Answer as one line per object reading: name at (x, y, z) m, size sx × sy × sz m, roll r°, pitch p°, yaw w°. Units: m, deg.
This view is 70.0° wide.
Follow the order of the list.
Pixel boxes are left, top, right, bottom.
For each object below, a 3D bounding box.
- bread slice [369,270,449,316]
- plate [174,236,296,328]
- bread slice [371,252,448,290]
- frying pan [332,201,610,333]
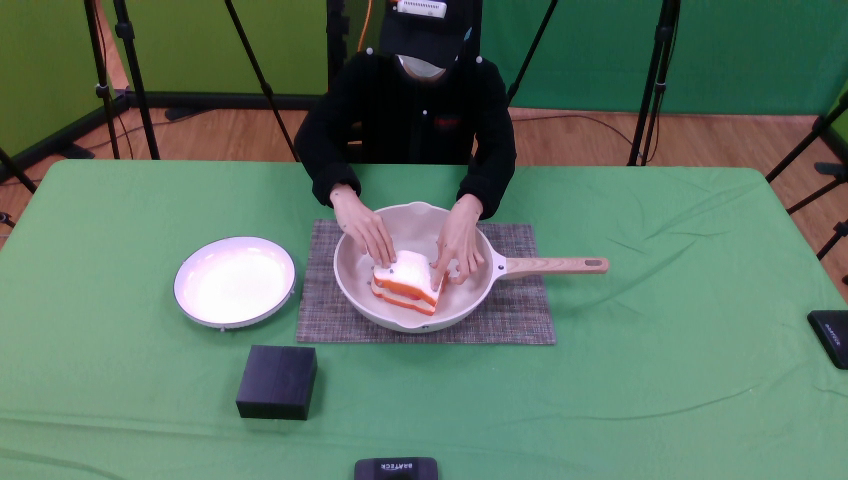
bread slice at (-0.031, 0.083, 1.109) m, size 0.134 × 0.018 × 0.106 m, roll 13°, pitch 46°, yaw 6°
plate at (-0.335, 0.077, 1.087) m, size 0.208 × 0.039 × 0.206 m, roll 2°, pitch 46°, yaw -2°
bread slice at (-0.028, 0.053, 1.074) m, size 0.131 × 0.019 × 0.104 m, roll -1°, pitch 30°, yaw 10°
frying pan at (0.085, 0.052, 1.093) m, size 0.488 × 0.103 × 0.305 m, roll -1°, pitch 46°, yaw 6°
